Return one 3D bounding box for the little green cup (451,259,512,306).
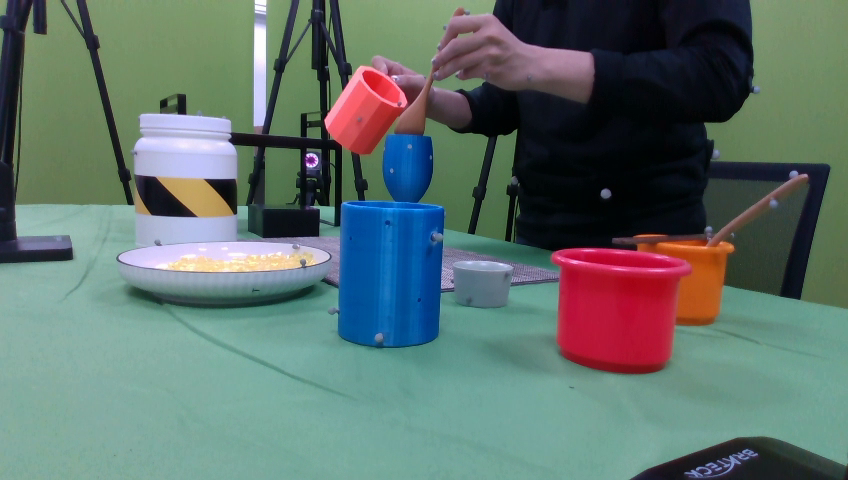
[{"bbox_3d":[0.057,0.043,0.612,0.061,0.038,0.061,3,7,0],"label":"little green cup"}]

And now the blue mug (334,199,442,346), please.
[{"bbox_3d":[-0.034,0.020,0.498,0.083,0.106,0.116,0,7,-20],"label":"blue mug"}]

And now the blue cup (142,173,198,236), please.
[{"bbox_3d":[-0.425,-0.060,1.014,0.093,0.100,0.092,4,9,0],"label":"blue cup"}]

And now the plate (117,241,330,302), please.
[{"bbox_3d":[-0.203,0.031,0.630,0.209,0.038,0.209,3,7,0],"label":"plate"}]

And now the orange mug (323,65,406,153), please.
[{"bbox_3d":[-0.085,-0.203,0.909,0.083,0.100,0.126,35,36,-10],"label":"orange mug"}]

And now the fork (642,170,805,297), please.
[{"bbox_3d":[0.261,0.003,0.545,0.028,0.018,0.207,5,-37,-15],"label":"fork"}]

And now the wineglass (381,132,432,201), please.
[{"bbox_3d":[-0.026,-0.062,0.841,0.074,0.172,0.073,2,8,0],"label":"wineglass"}]

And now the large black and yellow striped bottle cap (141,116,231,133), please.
[{"bbox_3d":[-0.324,-0.157,0.826,0.115,0.019,0.115,1,7,0],"label":"large black and yellow striped bottle cap"}]

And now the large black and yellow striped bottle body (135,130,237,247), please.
[{"bbox_3d":[-0.327,-0.074,0.838,0.131,0.184,0.130,2,7,0],"label":"large black and yellow striped bottle body"}]

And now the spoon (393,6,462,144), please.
[{"bbox_3d":[0.006,-0.214,0.798,0.041,0.193,0.021,24,20,-1],"label":"spoon"}]

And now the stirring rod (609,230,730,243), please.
[{"bbox_3d":[0.241,-0.004,0.582,0.177,0.006,0.014,-4,10,-33],"label":"stirring rod"}]
